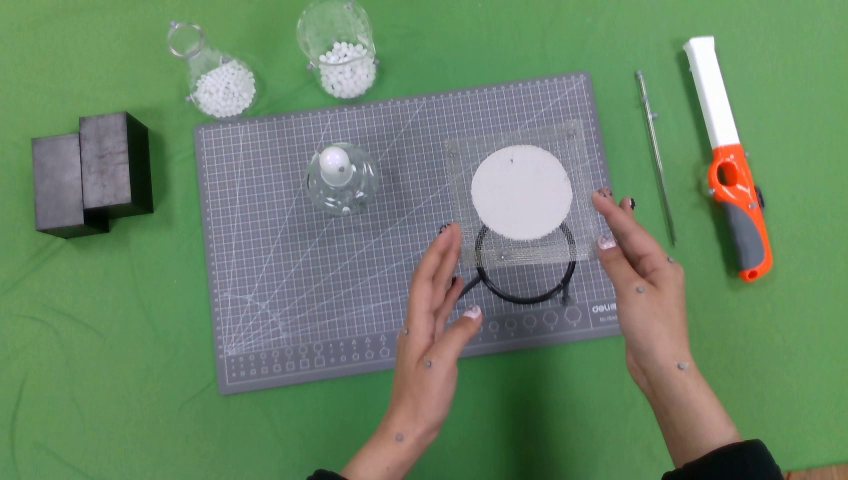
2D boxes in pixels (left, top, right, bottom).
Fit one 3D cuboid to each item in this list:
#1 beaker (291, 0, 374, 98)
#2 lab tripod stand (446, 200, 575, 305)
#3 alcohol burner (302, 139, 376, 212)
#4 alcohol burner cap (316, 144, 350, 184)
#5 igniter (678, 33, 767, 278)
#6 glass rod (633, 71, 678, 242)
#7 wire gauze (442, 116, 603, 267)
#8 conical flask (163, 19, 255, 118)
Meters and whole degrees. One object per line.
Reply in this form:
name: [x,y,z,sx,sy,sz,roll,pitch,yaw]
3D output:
beaker: [-0.090,-0.200,0.645,0.084,0.100,0.074,27,83,4]
lab tripod stand: [0.086,0.022,0.592,0.148,0.132,0.148,0,83,1]
alcohol burner: [-0.089,-0.069,0.615,0.078,0.119,0.077,0,83,-1]
alcohol burner cap: [-0.088,-0.075,0.580,0.034,0.048,0.033,1,81,-5]
igniter: [0.328,-0.096,0.664,0.057,0.025,0.275,-9,82,-12]
glass rod: [0.257,-0.095,0.673,0.008,0.008,0.199,-9,81,-2]
wire gauze: [0.083,-0.041,0.519,0.125,0.011,0.121,-7,80,1]
conical flask: [-0.227,-0.182,0.630,0.075,0.122,0.075,0,81,0]
